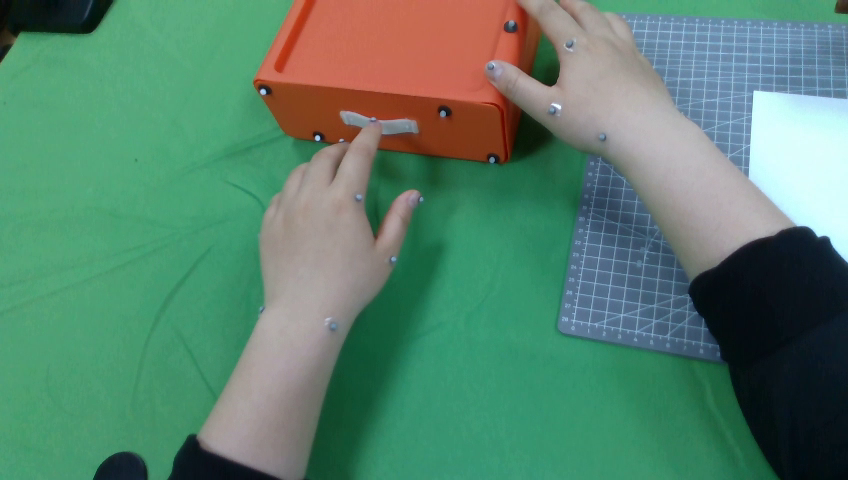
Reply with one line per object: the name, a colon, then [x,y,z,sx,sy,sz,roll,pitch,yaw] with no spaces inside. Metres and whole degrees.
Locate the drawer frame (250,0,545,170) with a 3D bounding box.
drawer frame: [-0.011,-0.176,0.513,0.201,0.083,0.212,8,63,16]

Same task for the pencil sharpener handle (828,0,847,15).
pencil sharpener handle: [0.309,-0.181,0.420,0.030,0.068,0.036,10,71,18]

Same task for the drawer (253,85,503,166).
drawer: [-0.010,-0.174,0.513,0.194,0.074,0.210,9,64,17]

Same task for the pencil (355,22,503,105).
pencil: [-0.003,-0.163,0.540,0.012,0.012,0.192,-44,57,-13]
